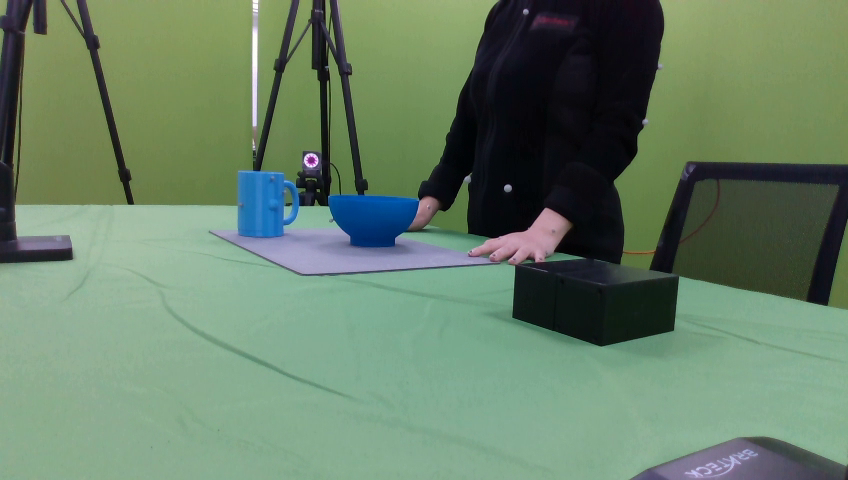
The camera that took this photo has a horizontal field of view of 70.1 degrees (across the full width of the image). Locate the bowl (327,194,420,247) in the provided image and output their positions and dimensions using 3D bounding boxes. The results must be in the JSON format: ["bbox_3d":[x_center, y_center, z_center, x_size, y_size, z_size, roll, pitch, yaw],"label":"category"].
[{"bbox_3d":[-0.083,-0.032,0.988,0.151,0.077,0.151,2,7,0],"label":"bowl"}]

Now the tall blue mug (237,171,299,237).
[{"bbox_3d":[-0.276,-0.065,1.053,0.077,0.108,0.107,3,7,14],"label":"tall blue mug"}]
